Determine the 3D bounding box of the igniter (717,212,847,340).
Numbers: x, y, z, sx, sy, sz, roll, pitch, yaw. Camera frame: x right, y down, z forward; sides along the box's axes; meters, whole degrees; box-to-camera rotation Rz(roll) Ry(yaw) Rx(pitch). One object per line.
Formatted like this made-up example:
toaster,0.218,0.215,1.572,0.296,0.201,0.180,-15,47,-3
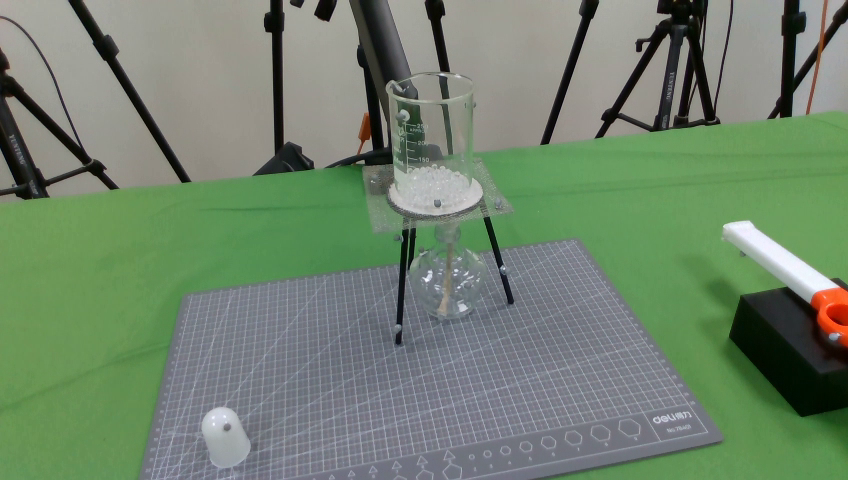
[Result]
igniter,0.344,0.047,0.513,0.057,0.025,0.273,-9,31,-8

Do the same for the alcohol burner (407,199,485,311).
alcohol burner,0.021,0.010,0.592,0.078,0.120,0.077,-1,36,1

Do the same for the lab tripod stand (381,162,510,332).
lab tripod stand,0.013,0.001,0.589,0.148,0.132,0.147,-1,33,1

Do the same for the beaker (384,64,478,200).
beaker,0.004,-0.092,0.522,0.074,0.101,0.083,-29,42,-35

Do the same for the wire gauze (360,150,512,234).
wire gauze,0.006,-0.051,0.549,0.121,0.011,0.123,-8,37,-7

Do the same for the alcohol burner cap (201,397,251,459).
alcohol burner cap,-0.156,0.143,0.473,0.034,0.048,0.033,-2,35,1
